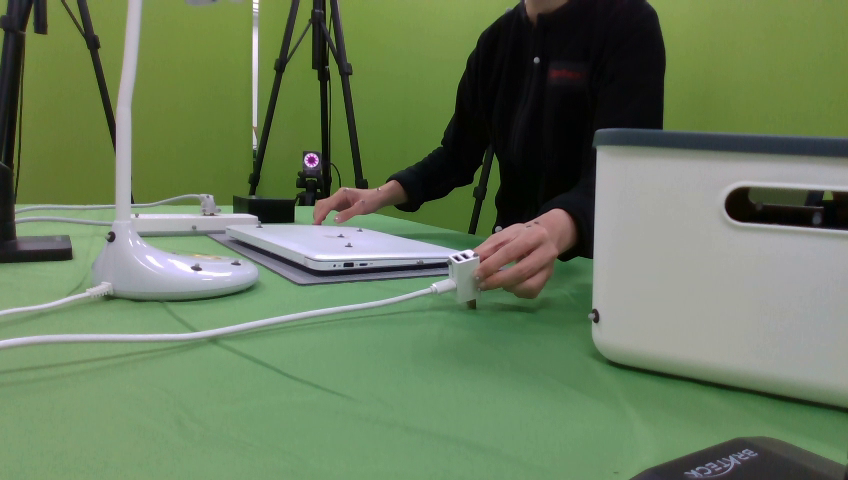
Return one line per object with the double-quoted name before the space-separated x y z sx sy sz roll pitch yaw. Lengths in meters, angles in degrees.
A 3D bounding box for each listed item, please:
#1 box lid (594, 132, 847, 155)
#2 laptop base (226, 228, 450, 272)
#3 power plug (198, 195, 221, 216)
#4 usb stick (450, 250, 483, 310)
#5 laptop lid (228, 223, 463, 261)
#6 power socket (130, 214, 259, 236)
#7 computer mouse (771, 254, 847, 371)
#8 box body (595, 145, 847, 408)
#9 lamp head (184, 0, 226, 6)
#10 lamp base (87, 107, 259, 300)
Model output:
"box lid" 0.310 -0.066 0.499 0.262 0.015 0.373 7 8 29
"laptop base" -0.125 0.011 0.889 0.237 0.023 0.352 1 6 -35
"power plug" -0.385 -0.055 1.088 0.035 0.052 0.072 -2 6 -24
"usb stick" 0.041 0.042 0.573 0.027 0.059 0.021 -18 28 -22
"laptop lid" -0.123 -0.001 0.888 0.243 0.013 0.355 1 7 -33
"power socket" -0.397 -0.028 1.048 0.228 0.032 0.072 -3 7 -35
"computer mouse" 0.344 0.057 0.519 0.063 0.041 0.117 12 47 3
"box body" 0.309 0.006 0.509 0.253 0.160 0.366 6 8 29
"lamp head" -0.229 -0.320 0.627 0.112 0.112 0.123 6 -35 26
"lamp base" -0.254 -0.039 0.603 0.160 0.180 0.179 4 10 18
